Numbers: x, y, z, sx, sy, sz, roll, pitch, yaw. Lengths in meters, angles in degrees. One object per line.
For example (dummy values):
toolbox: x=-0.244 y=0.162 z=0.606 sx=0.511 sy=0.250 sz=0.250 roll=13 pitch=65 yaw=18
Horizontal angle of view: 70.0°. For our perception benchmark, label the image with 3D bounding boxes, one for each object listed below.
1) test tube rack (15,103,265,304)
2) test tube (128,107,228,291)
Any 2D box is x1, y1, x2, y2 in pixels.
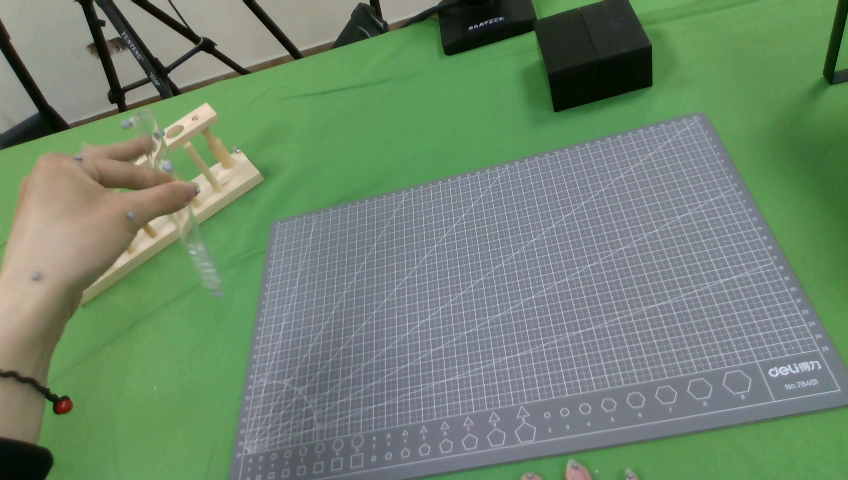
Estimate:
test tube rack: x=-0.311 y=-0.043 z=0.676 sx=0.242 sy=0.086 sz=0.066 roll=-37 pitch=49 yaw=-11
test tube: x=-0.175 y=-0.024 z=0.441 sx=0.017 sy=0.151 sz=0.017 roll=-9 pitch=32 yaw=6
